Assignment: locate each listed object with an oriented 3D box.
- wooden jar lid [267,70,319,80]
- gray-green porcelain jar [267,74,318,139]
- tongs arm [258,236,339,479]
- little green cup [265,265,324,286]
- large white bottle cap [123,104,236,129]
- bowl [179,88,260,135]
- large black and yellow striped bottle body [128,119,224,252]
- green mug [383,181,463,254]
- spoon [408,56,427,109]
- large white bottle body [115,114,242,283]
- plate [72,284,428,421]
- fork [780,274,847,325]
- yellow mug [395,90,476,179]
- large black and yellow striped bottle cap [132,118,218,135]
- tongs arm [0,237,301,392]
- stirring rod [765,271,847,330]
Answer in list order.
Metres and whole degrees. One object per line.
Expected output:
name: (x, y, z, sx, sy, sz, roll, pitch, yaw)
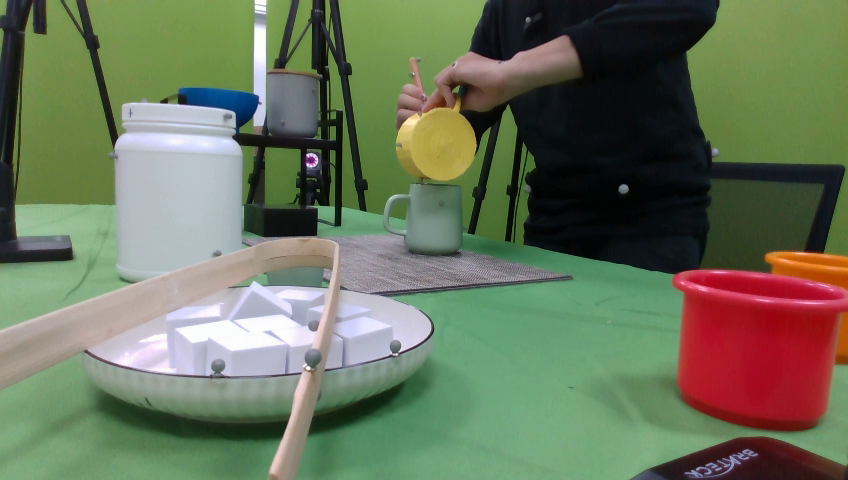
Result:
wooden jar lid: (-0.275, -0.339, 1.271, 0.108, 0.020, 0.108, 5, 6, 0)
gray-green porcelain jar: (-0.277, -0.279, 1.280, 0.106, 0.126, 0.106, 2, 7, 0)
tongs arm: (-0.074, 0.040, 0.345, 0.051, 0.026, 0.384, -1, 9, -3)
little green cup: (-0.134, 0.034, 0.628, 0.061, 0.038, 0.061, 3, 7, 0)
large white bottle cap: (-0.266, -0.134, 0.663, 0.115, 0.018, 0.115, 3, 7, 0)
bowl: (-0.400, -0.248, 1.188, 0.151, 0.077, 0.151, 2, 6, 0)
large black and yellow striped bottle body: (-0.361, -0.081, 0.887, 0.131, 0.184, 0.130, 2, 8, 0)
green mug: (-0.001, -0.036, 0.921, 0.126, 0.105, 0.092, 0, 8, -16)
spoon: (0.002, -0.191, 0.904, 0.042, 0.193, 0.021, -15, -19, -3)
large white bottle body: (-0.270, -0.051, 0.673, 0.131, 0.184, 0.130, 2, 8, 0)
plate: (-0.102, 0.066, 0.380, 0.208, 0.039, 0.207, 3, 7, 0)
fork: (0.332, 0.018, 0.443, 0.028, 0.018, 0.207, -3, -35, -16)
yellow mug: (0.021, -0.153, 0.864, 0.100, 0.130, 0.064, 21, 1, -23)
large black and yellow striped bottle cap: (-0.359, -0.164, 0.875, 0.115, 0.019, 0.115, 2, 6, 0)
tongs arm: (-0.158, 0.038, 0.347, 0.028, 0.028, 0.388, -3, 8, 11)
stirring rod: (0.352, 0.020, 0.481, 0.176, 0.006, 0.014, -40, -7, 17)
